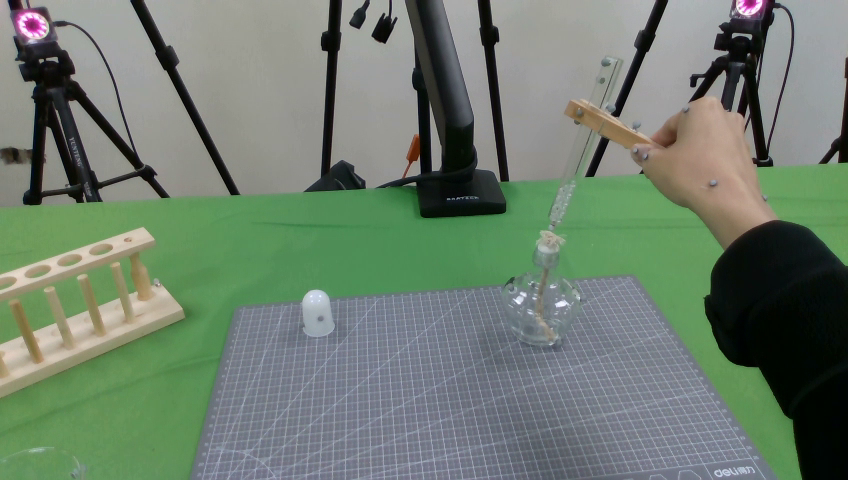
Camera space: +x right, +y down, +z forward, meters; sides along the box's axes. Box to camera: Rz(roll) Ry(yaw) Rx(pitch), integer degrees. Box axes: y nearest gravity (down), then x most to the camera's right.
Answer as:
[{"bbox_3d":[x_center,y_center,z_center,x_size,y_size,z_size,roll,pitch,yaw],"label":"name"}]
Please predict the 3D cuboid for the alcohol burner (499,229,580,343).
[{"bbox_3d":[0.114,0.041,0.588,0.078,0.120,0.077,1,32,0],"label":"alcohol burner"}]

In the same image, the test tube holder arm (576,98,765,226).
[{"bbox_3d":[0.184,-0.066,0.473,0.013,0.015,0.176,-14,45,-40],"label":"test tube holder arm"}]

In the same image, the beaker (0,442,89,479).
[{"bbox_3d":[-0.239,0.189,0.376,0.084,0.101,0.073,0,32,3],"label":"beaker"}]

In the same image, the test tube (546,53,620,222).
[{"bbox_3d":[0.134,-0.083,0.517,0.017,0.151,0.017,12,26,-6],"label":"test tube"}]

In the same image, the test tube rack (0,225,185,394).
[{"bbox_3d":[-0.368,0.074,0.578,0.243,0.086,0.066,-25,39,-33],"label":"test tube rack"}]

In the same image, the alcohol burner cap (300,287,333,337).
[{"bbox_3d":[-0.111,0.070,0.614,0.034,0.048,0.033,-1,32,1],"label":"alcohol burner cap"}]

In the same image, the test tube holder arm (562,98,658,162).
[{"bbox_3d":[0.151,-0.090,0.492,0.087,0.015,0.010,38,37,26],"label":"test tube holder arm"}]
